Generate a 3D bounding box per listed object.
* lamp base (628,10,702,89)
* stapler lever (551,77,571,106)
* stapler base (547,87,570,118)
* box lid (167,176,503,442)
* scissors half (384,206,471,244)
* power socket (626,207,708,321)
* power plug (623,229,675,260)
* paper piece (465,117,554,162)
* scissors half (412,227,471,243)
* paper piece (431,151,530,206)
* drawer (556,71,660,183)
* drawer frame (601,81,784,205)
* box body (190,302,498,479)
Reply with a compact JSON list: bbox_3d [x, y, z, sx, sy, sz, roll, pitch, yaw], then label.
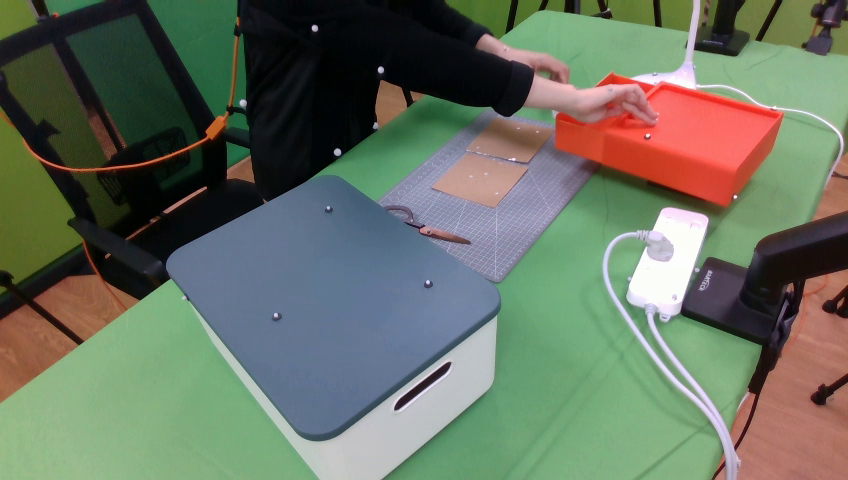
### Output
[{"bbox_3d":[0.484,-0.364,1.211,0.180,0.181,0.159,-15,41,-14],"label":"lamp base"},{"bbox_3d":[0.287,-0.320,1.270,0.027,0.040,0.117,-1,39,3],"label":"stapler lever"},{"bbox_3d":[0.289,-0.299,1.285,0.041,0.024,0.130,0,39,2],"label":"stapler base"},{"bbox_3d":[-0.119,0.047,0.714,0.264,0.015,0.368,-32,47,-27],"label":"box lid"},{"bbox_3d":[0.001,-0.024,1.005,0.174,0.013,0.040,22,58,25],"label":"scissors half"},{"bbox_3d":[0.360,0.026,0.886,0.072,0.033,0.227,16,46,26],"label":"power socket"},{"bbox_3d":[0.327,0.007,0.878,0.072,0.053,0.035,25,51,33],"label":"power plug"},{"bbox_3d":[0.170,-0.200,1.195,0.137,0.009,0.136,18,43,26],"label":"paper piece"},{"bbox_3d":[-0.007,-0.010,0.993,0.174,0.013,0.040,8,47,15],"label":"scissors half"},{"bbox_3d":[0.103,-0.116,1.104,0.135,0.004,0.136,20,47,28],"label":"paper piece"},{"bbox_3d":[0.367,-0.201,1.047,0.210,0.073,0.195,28,51,33],"label":"drawer"},{"bbox_3d":[0.437,-0.168,0.995,0.212,0.083,0.202,28,51,33],"label":"drawer frame"},{"bbox_3d":[-0.110,0.103,0.761,0.255,0.161,0.361,-33,46,-27],"label":"box body"}]
